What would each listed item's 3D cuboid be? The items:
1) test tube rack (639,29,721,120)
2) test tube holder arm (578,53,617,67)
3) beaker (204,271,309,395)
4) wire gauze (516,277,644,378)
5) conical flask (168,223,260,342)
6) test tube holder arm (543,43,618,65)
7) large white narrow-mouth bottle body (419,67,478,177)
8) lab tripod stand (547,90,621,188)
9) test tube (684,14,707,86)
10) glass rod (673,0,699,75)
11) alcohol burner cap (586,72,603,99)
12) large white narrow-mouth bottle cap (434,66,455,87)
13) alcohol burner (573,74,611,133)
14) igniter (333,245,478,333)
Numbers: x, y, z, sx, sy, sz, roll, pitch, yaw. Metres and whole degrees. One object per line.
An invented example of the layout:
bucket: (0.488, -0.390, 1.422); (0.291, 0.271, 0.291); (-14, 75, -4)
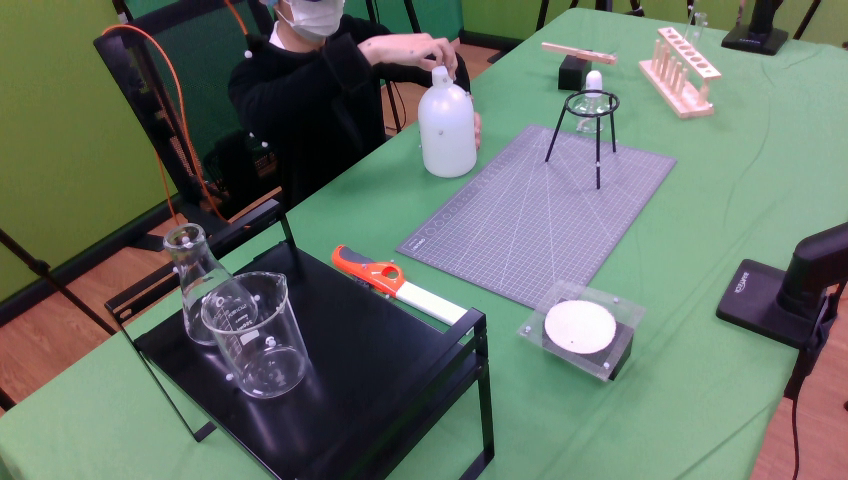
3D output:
test tube rack: (0.527, -0.351, 1.262); (0.067, 0.085, 0.241); (-8, 40, 1)
test tube holder arm: (0.376, -0.393, 1.314); (0.087, 0.015, 0.010); (26, 51, 32)
beaker: (-0.149, 0.088, 0.565); (0.073, 0.101, 0.084); (21, 47, 29)
wire gauze: (0.197, 0.103, 0.765); (0.124, 0.011, 0.122); (23, 50, 32)
conical flask: (-0.219, 0.040, 0.614); (0.075, 0.122, 0.075); (-5, 40, 4)
test tube holder arm: (0.345, -0.413, 1.341); (0.177, 0.015, 0.013); (25, 50, 31)
large white narrow-mouth bottle body: (0.043, -0.217, 1.098); (0.102, 0.195, 0.101); (-4, 40, 4)
lab tripod stand: (0.289, -0.184, 1.062); (0.148, 0.132, 0.147); (-6, 41, 6)
test tube: (0.541, -0.379, 1.216); (0.017, 0.151, 0.017); (-2, 44, 2)
glass rod: (0.541, -0.427, 1.246); (0.008, 0.200, 0.008); (0, 48, 1)
alcohol burner cap: (0.325, -0.297, 1.154); (0.034, 0.048, 0.033); (-8, 35, 6)
large white narrow-mouth bottle cap: (0.036, -0.282, 1.043); (0.038, 0.024, 0.037); (-4, 40, 4)
alcohol burner: (0.330, -0.270, 1.176); (0.078, 0.119, 0.077); (-4, 43, 4)
igniter: (-0.038, 0.068, 0.905); (0.274, 0.025, 0.057); (24, 60, 32)
